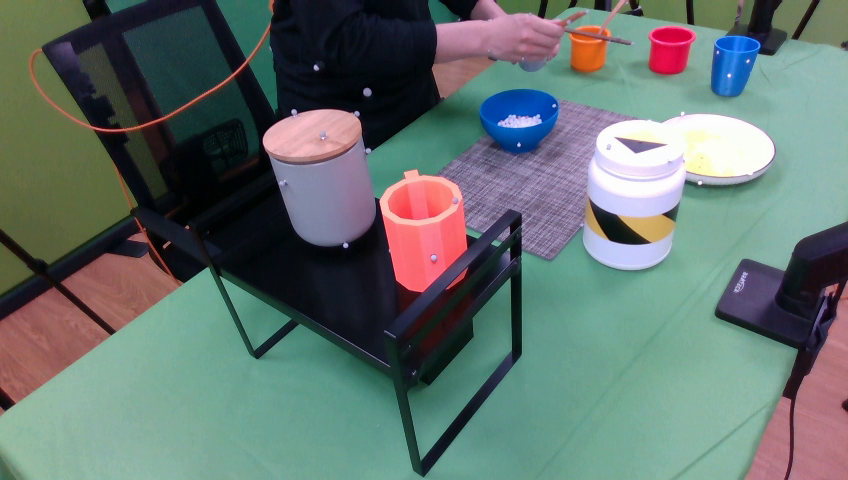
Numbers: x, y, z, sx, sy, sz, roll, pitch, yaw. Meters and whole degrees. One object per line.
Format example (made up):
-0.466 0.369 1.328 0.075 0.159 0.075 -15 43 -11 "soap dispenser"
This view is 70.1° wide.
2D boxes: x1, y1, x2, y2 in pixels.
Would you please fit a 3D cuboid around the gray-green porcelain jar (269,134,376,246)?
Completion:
-0.115 -0.064 0.715 0.106 0.127 0.105 -4 40 4 "gray-green porcelain jar"

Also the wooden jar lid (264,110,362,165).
-0.122 -0.112 0.673 0.108 0.021 0.108 -4 37 4 "wooden jar lid"

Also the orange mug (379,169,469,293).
-0.002 -0.019 0.665 0.083 0.101 0.125 -12 45 -4 "orange mug"

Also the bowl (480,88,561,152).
0.185 -0.222 1.160 0.151 0.077 0.150 -5 40 4 "bowl"

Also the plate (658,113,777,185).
0.506 -0.158 1.073 0.209 0.038 0.208 -5 40 4 "plate"

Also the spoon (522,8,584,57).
0.217 -0.349 1.025 0.042 0.193 0.021 -5 84 -15 "spoon"

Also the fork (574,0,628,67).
0.413 -0.481 1.377 0.207 0.019 0.028 -56 43 12 "fork"

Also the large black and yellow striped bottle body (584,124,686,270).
0.304 -0.063 0.880 0.131 0.185 0.130 -5 41 5 "large black and yellow striped bottle body"

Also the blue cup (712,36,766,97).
0.627 -0.350 1.227 0.092 0.100 0.092 -4 39 4 "blue cup"

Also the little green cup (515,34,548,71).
0.201 -0.347 1.125 0.061 0.039 0.061 -4 67 11 "little green cup"

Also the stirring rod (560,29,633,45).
0.381 -0.452 1.345 0.174 0.006 0.014 25 49 33 "stirring rod"

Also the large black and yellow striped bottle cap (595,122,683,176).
0.293 -0.126 0.826 0.115 0.019 0.114 -3 40 3 "large black and yellow striped bottle cap"
